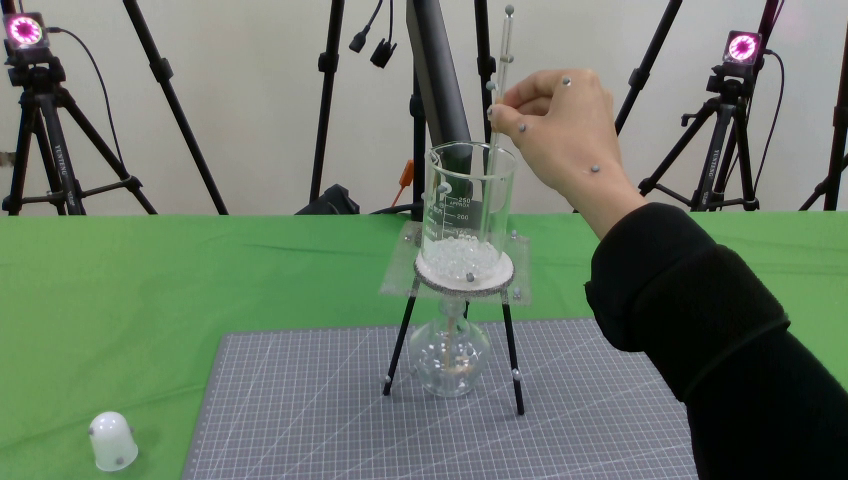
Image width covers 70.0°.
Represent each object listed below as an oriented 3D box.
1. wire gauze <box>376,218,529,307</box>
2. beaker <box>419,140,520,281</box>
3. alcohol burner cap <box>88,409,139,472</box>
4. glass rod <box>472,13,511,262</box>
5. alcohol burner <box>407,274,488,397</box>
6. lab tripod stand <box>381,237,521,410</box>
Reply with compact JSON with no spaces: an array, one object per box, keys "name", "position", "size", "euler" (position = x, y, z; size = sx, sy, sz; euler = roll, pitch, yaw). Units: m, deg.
[{"name":"wire gauze","position":[0.030,0.018,0.526],"size":[0.121,0.011,0.124],"euler":[6,32,6]},{"name":"beaker","position":[0.031,-0.024,0.503],"size":[0.083,0.101,0.074],"euler":[27,37,34]},{"name":"alcohol burner cap","position":[-0.252,0.159,0.488],"size":[0.034,0.048,0.033],"euler":[1,30,0]},{"name":"glass rod","position":[0.051,-0.069,0.467],"size":[0.008,0.201,0.008],"euler":[3,30,-2]},{"name":"alcohol burner","position":[0.022,0.085,0.562],"size":[0.078,0.120,0.077],"euler":[1,28,0]},{"name":"lab tripod stand","position":[0.034,0.076,0.558],"size":[0.148,0.132,0.147],"euler":[4,29,-2]}]
